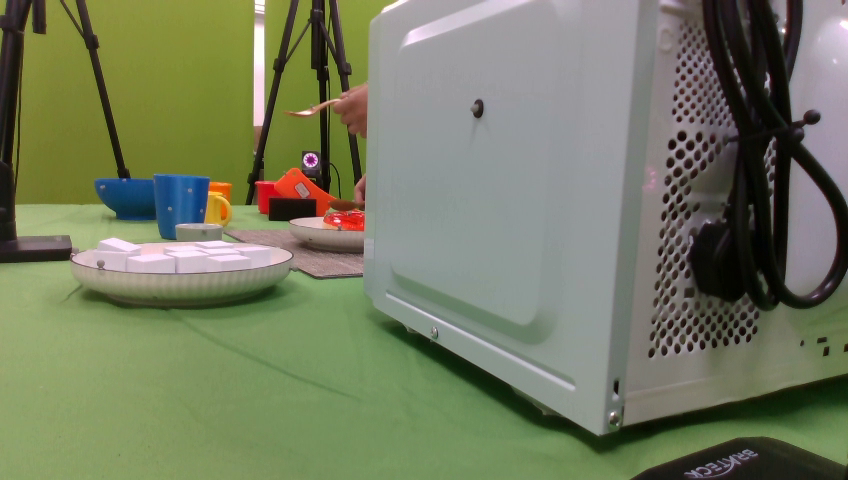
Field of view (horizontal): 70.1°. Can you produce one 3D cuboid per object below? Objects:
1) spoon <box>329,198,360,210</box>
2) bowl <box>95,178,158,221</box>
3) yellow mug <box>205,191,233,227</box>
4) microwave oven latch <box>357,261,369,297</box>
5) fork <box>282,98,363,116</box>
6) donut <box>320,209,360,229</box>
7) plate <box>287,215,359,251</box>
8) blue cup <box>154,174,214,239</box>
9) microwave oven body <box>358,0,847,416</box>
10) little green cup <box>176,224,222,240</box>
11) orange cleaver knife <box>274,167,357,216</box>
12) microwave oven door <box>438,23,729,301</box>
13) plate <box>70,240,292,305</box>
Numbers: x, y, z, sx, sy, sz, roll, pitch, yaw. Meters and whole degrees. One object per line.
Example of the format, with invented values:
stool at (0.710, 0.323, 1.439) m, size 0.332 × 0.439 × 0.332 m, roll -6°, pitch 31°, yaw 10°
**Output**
spoon at (-0.113, -0.071, 1.165) m, size 0.041 × 0.021 × 0.194 m, roll -26°, pitch -8°, yaw 30°
bowl at (-0.576, -0.081, 1.217) m, size 0.151 × 0.077 × 0.151 m, roll 3°, pitch 8°, yaw 0°
yellow mug at (-0.415, -0.057, 1.131) m, size 0.130 × 0.064 × 0.100 m, roll 6°, pitch 8°, yaw 16°
microwave oven latch at (-0.019, 0.033, 0.530) m, size 0.079 × 0.029 × 0.030 m, roll -1°, pitch 7°, yaw -26°
fork at (-0.162, -0.232, 1.045) m, size 0.028 × 0.018 × 0.208 m, roll 9°, pitch 25°, yaw 34°
donut at (-0.115, -0.023, 0.961) m, size 0.099 × 0.048 × 0.099 m, roll 5°, pitch 8°, yaw 0°
plate at (-0.112, -0.012, 0.960) m, size 0.209 × 0.038 × 0.209 m, roll 3°, pitch 8°, yaw 0°
blue cup at (-0.390, -0.053, 0.978) m, size 0.093 × 0.100 × 0.092 m, roll 3°, pitch 6°, yaw 0°
microwave oven body at (0.211, -0.047, 0.474) m, size 0.444 × 0.260 × 0.324 m, roll -1°, pitch 7°, yaw -28°
little green cup at (-0.312, -0.001, 0.842) m, size 0.061 × 0.038 × 0.061 m, roll 2°, pitch 8°, yaw 0°
orange cleaver knife at (-0.238, -0.090, 1.381) m, size 0.212 × 0.077 × 0.012 m, roll 31°, pitch 0°, yaw -19°
microwave oven door at (0.181, -0.072, 0.620) m, size 0.358 × 0.243 × 0.039 m, roll -2°, pitch 8°, yaw -29°
plate at (-0.242, 0.031, 0.618) m, size 0.208 × 0.039 × 0.207 m, roll 2°, pitch 8°, yaw 0°
